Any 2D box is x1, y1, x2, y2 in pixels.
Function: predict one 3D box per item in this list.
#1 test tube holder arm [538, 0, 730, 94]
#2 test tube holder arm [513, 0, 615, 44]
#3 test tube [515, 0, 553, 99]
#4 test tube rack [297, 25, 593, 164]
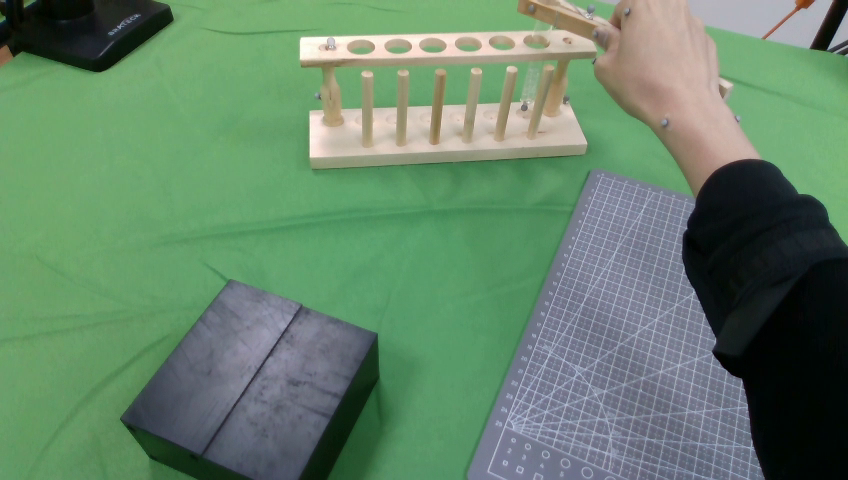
[{"bbox_3d":[0.147,-0.155,0.457,0.177,0.015,0.013,37,61,26],"label":"test tube holder arm"},{"bbox_3d":[0.109,-0.175,0.473,0.087,0.015,0.010,30,57,22],"label":"test tube holder arm"},{"bbox_3d":[0.094,-0.180,0.496,0.017,0.151,0.017,2,50,-2],"label":"test tube"},{"bbox_3d":[0.019,-0.125,0.518,0.243,0.086,0.066,-4,50,-7],"label":"test tube rack"}]
